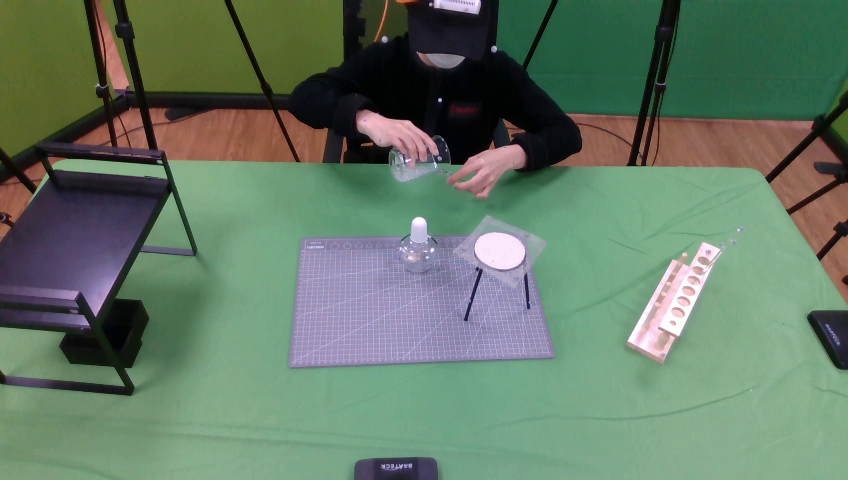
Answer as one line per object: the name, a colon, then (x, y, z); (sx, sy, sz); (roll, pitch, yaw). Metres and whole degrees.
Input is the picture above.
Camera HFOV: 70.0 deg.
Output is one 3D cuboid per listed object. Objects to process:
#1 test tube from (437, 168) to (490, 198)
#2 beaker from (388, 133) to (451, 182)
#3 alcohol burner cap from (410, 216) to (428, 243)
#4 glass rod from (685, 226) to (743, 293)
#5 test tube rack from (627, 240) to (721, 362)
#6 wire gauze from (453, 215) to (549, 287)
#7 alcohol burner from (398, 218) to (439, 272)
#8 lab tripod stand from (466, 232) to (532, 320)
test tube: (0.083, -0.115, 1.236); (0.151, 0.017, 0.017); (21, 32, -40)
beaker: (-0.010, -0.152, 1.148); (0.100, 0.084, 0.073); (-17, 38, -23)
alcohol burner cap: (-0.009, -0.022, 1.099); (0.034, 0.048, 0.033); (2, 41, -1)
glass rod: (0.500, 0.040, 1.054); (0.008, 0.200, 0.008); (4, 53, -5)
test tube rack: (0.452, 0.098, 1.087); (0.066, 0.085, 0.242); (28, 51, 22)
wire gauze: (0.129, 0.012, 1.017); (0.124, 0.011, 0.121); (28, 50, 23)
alcohol burner: (-0.010, 0.004, 1.123); (0.078, 0.120, 0.077); (1, 47, 0)
lab tripod stand: (0.125, 0.059, 1.065); (0.148, 0.132, 0.147); (1, 45, 0)
